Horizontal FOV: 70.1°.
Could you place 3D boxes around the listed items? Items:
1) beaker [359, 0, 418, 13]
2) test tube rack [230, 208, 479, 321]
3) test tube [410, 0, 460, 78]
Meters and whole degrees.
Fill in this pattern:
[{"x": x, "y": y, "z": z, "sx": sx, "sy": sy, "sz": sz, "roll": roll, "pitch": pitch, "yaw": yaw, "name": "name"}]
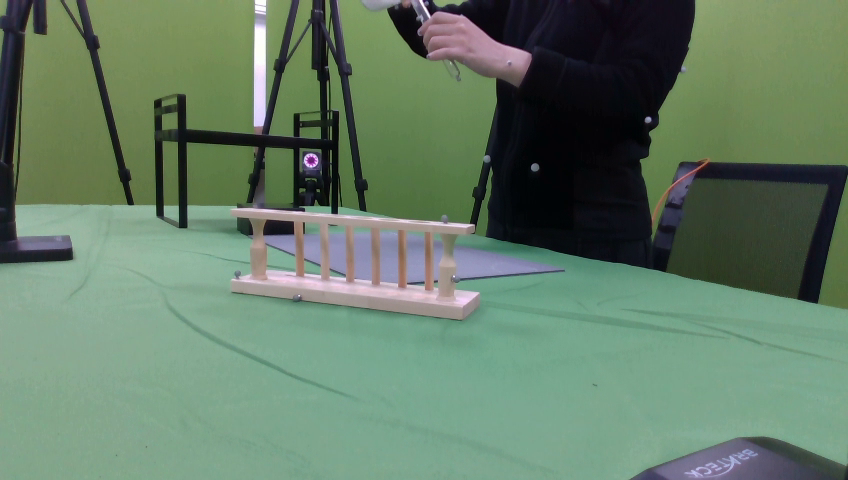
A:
[{"x": -0.053, "y": -0.405, "z": 0.957, "sx": 0.100, "sy": 0.084, "sz": 0.074, "roll": -4, "pitch": -1, "yaw": 36, "name": "beaker"}, {"x": -0.069, "y": 0.017, "z": 0.598, "sx": 0.242, "sy": 0.085, "sz": 0.067, "roll": 5, "pitch": 8, "yaw": 18, "name": "test tube rack"}, {"x": 0.017, "y": -0.305, "z": 0.910, "sx": 0.017, "sy": 0.150, "sz": 0.017, "roll": -24, "pitch": -15, "yaw": -7, "name": "test tube"}]
